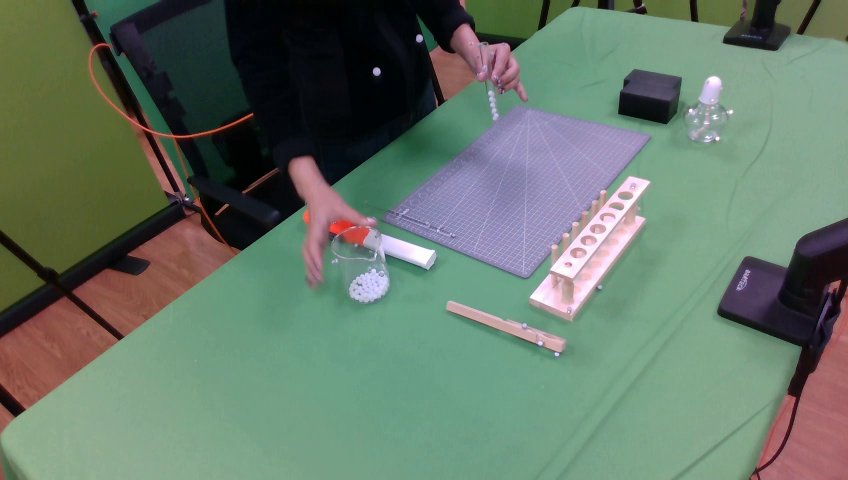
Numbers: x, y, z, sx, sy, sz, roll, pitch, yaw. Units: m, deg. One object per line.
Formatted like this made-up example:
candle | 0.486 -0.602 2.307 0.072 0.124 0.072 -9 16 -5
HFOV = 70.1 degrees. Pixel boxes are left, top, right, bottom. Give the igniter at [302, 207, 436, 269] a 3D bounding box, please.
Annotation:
igniter | -0.101 -0.007 1.004 0.274 0.025 0.057 19 57 29

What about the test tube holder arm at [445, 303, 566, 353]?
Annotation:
test tube holder arm | 0.107 0.117 0.824 0.177 0.015 0.013 16 11 27

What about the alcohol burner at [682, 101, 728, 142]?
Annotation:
alcohol burner | 0.513 -0.239 1.097 0.078 0.119 0.077 -4 40 4

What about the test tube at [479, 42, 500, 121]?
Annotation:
test tube | 0.113 -0.269 1.038 0.017 0.151 0.017 -9 44 9

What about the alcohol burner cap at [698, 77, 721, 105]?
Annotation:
alcohol burner cap | 0.509 -0.266 1.072 0.034 0.048 0.033 -4 48 4

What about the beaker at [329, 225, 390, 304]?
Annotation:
beaker | -0.089 0.040 0.890 0.074 0.101 0.083 -32 46 -24

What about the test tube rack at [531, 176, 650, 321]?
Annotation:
test tube rack | 0.246 0.002 0.884 0.066 0.085 0.243 22 49 32

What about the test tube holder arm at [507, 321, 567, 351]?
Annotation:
test tube holder arm | 0.148 0.128 0.808 0.087 0.015 0.010 16 11 28

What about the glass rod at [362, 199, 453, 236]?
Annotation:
glass rod | -0.031 -0.041 1.041 0.198 0.008 0.008 22 50 31
